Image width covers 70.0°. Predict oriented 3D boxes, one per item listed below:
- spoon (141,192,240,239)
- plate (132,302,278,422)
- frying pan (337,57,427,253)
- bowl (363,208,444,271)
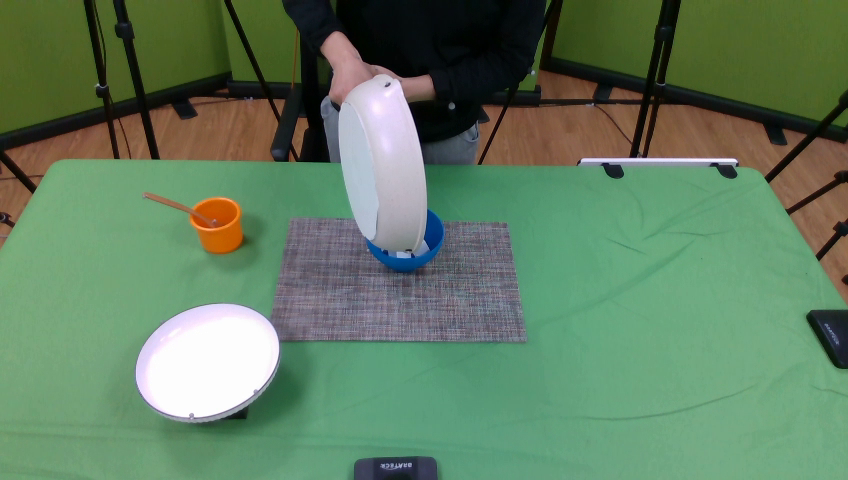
[{"bbox_3d":[-0.428,-0.048,1.123,0.021,0.195,0.041,-39,44,20],"label":"spoon"},{"bbox_3d":[-0.325,0.186,0.916,0.208,0.039,0.206,3,44,-2],"label":"plate"},{"bbox_3d":[-0.099,-0.187,1.051,0.103,0.308,0.484,-5,44,-13],"label":"frying pan"},{"bbox_3d":[-0.040,0.006,1.144,0.151,0.077,0.150,2,46,-2],"label":"bowl"}]
